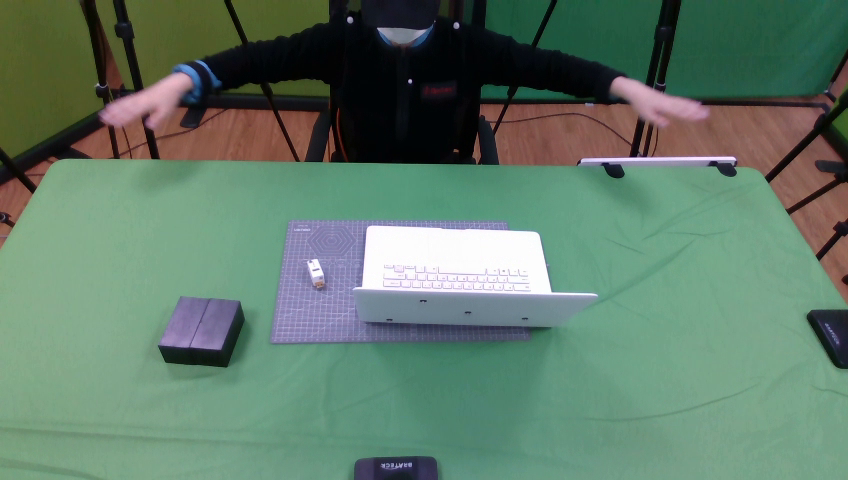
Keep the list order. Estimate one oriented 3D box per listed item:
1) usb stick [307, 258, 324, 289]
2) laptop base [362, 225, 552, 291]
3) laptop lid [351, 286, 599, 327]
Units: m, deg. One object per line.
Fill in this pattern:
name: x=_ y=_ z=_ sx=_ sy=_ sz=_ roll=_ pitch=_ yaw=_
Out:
usb stick: x=-0.198 y=0.064 z=1.114 sx=0.021 sy=0.027 sz=0.059 roll=-13 pitch=51 yaw=-18
laptop base: x=0.061 y=0.063 z=1.145 sx=0.354 sy=0.023 sz=0.234 roll=2 pitch=43 yaw=-3
laptop lid: x=0.068 y=0.109 z=0.952 sx=0.357 sy=0.242 sz=0.013 roll=2 pitch=71 yaw=-4
